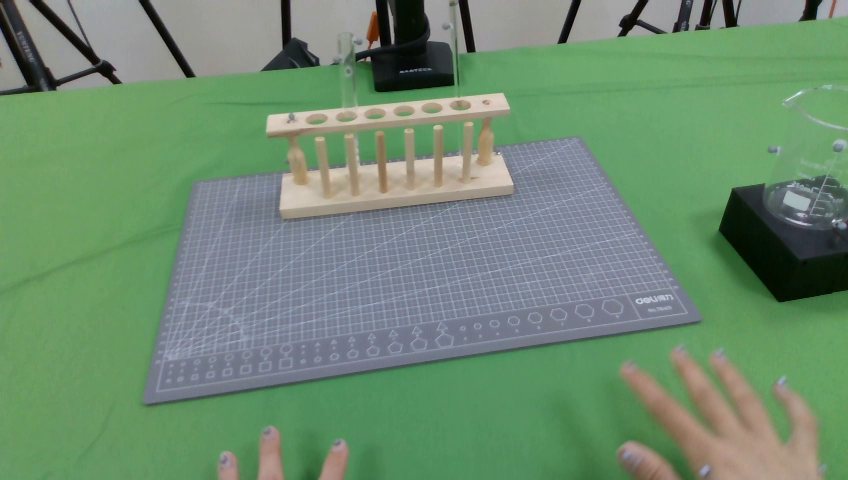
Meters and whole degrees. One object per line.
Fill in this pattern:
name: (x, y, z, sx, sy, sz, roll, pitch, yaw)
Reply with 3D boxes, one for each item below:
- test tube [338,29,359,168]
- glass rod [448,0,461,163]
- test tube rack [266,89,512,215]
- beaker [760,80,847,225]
test tube: (-0.075, -0.134, 0.602, 0.017, 0.151, 0.017, 2, 41, -1)
glass rod: (0.031, -0.168, 0.609, 0.008, 0.201, 0.008, -3, 35, 3)
test tube rack: (-0.033, -0.091, 0.626, 0.242, 0.086, 0.066, -7, 42, -4)
beaker: (0.325, -0.070, 0.498, 0.083, 0.101, 0.074, 22, 47, 27)
